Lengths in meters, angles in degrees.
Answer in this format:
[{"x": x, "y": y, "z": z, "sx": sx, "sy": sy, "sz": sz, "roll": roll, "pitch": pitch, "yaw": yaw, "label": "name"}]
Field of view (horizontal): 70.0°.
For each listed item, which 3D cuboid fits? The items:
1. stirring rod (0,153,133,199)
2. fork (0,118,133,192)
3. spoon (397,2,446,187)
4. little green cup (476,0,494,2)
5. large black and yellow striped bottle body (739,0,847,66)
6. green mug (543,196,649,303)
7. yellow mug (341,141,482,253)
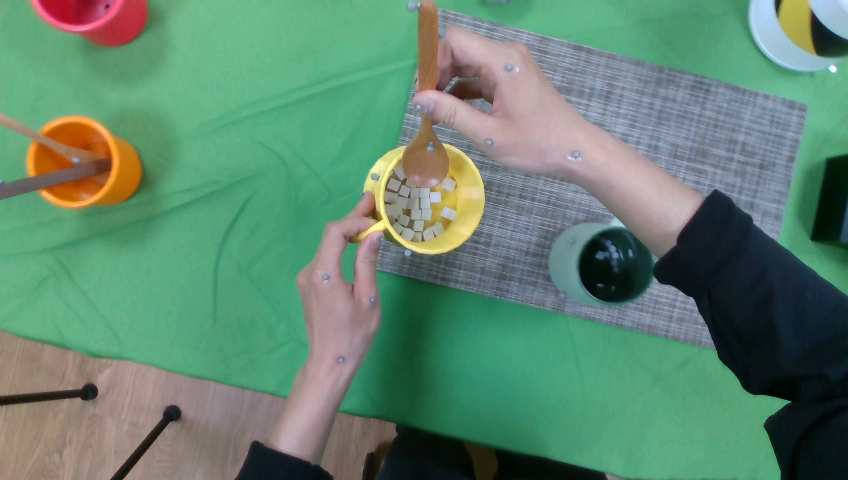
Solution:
[{"x": -0.378, "y": -0.060, "z": 0.604, "sx": 0.176, "sy": 0.006, "sz": 0.014, "roll": -28, "pitch": 93, "yaw": -44, "label": "stirring rod"}, {"x": -0.390, "y": -0.101, "z": 0.597, "sx": 0.209, "sy": 0.018, "sz": 0.028, "roll": 32, "pitch": 85, "yaw": -45, "label": "fork"}, {"x": -0.001, "y": -0.095, "z": 0.446, "sx": 0.041, "sy": 0.195, "sz": 0.021, "roll": 3, "pitch": 67, "yaw": 0, "label": "spoon"}, {"x": 0.069, "y": -0.296, "z": 0.669, "sx": 0.061, "sy": 0.038, "sz": 0.061, "roll": 0, "pitch": 91, "yaw": -2, "label": "little green cup"}, {"x": 0.427, "y": -0.264, "z": 0.611, "sx": 0.131, "sy": 0.184, "sz": 0.130, "roll": 0, "pitch": 90, "yaw": -2, "label": "large black and yellow striped bottle body"}, {"x": 0.188, "y": 0.009, "z": 0.640, "sx": 0.092, "sy": 0.105, "sz": 0.125, "roll": 30, "pitch": 89, "yaw": -1, "label": "green mug"}, {"x": -0.018, "y": -0.033, "z": 0.558, "sx": 0.131, "sy": 0.063, "sz": 0.100, "roll": -31, "pitch": 105, "yaw": -13, "label": "yellow mug"}]
